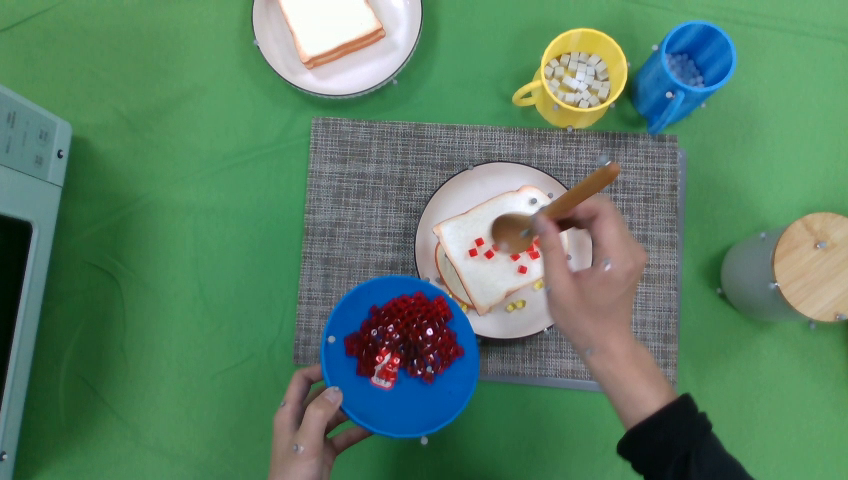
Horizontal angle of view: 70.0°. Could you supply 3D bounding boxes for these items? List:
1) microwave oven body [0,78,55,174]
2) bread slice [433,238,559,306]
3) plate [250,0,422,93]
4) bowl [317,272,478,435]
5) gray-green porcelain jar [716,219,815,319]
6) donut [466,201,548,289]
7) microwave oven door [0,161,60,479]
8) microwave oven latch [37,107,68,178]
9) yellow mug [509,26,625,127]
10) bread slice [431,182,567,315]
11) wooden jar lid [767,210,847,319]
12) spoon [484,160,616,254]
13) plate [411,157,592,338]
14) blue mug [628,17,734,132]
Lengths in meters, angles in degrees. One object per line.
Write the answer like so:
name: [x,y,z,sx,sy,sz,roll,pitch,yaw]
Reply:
microwave oven body: [-0.608,0.032,0.595,0.326,0.260,0.440,6,84,1]
bread slice: [0.079,0.017,0.709,0.131,0.019,0.104,-28,83,-3]
plate: [-0.106,-0.277,0.746,0.208,0.039,0.207,0,83,0]
bowl: [-0.033,0.114,0.578,0.152,0.077,0.150,9,64,-18]
gray-green porcelain jar: [0.393,0.034,0.663,0.106,0.127,0.105,0,83,0]
donut: [0.094,0.006,0.680,0.099,0.048,0.099,2,83,-17]
microwave oven door: [-0.468,0.089,0.583,0.039,0.244,0.355,6,83,2]
microwave oven latch: [-0.441,-0.115,0.708,0.030,0.029,0.079,10,84,1]
yellow mug: [0.165,-0.188,0.720,0.131,0.064,0.099,-17,82,0]
bread slice: [0.086,-0.001,0.649,0.134,0.018,0.107,-31,90,-10]
wooden jar lid: [0.391,0.025,0.600,0.108,0.021,0.108,0,86,-1]
spoon: [0.094,-0.021,0.478,0.041,0.194,0.021,46,71,-2]
plate: [0.089,0.009,0.707,0.209,0.038,0.208,0,83,0]
blue mug: [0.285,-0.179,0.699,0.082,0.106,0.116,25,84,4]
